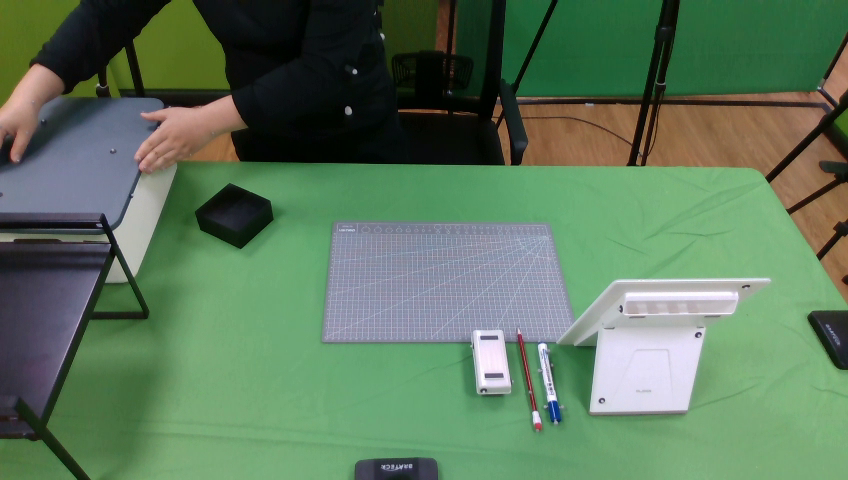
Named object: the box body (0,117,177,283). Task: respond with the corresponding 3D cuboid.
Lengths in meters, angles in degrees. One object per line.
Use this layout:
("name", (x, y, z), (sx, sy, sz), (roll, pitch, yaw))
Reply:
("box body", (-0.640, -0.095, 1.140), (0.254, 0.161, 0.361), (0, 46, -4))

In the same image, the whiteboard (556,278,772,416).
("whiteboard", (0.347, 0.174, 0.903), (0.217, 0.306, 0.143), (1, 65, -4))

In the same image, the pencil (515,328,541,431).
("pencil", (0.169, 0.224, 1.003), (0.012, 0.012, 0.192), (-1, 46, -6))

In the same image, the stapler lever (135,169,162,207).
("stapler lever", (-0.555, -0.112, 1.221), (0.027, 0.040, 0.117), (6, 41, -13))

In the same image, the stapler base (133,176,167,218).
("stapler base", (-0.559, -0.094, 1.235), (0.041, 0.024, 0.129), (7, 39, -13))

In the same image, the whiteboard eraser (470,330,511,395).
("whiteboard eraser", (0.110, 0.202, 0.998), (0.055, 0.042, 0.112), (1, 46, -5))

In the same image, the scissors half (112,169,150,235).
("scissors half", (-0.596, -0.078, 1.225), (0.040, 0.013, 0.174), (7, 53, 1))

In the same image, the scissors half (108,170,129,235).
("scissors half", (-0.617, -0.077, 1.223), (0.040, 0.013, 0.174), (-14, 54, -8))

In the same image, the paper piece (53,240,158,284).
("paper piece", (-0.593, 0.037, 1.135), (0.136, 0.009, 0.137), (3, 33, 7))

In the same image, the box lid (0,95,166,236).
("box lid", (-0.632, -0.145, 1.077), (0.263, 0.015, 0.369), (1, 47, -6))

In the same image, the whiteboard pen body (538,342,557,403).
("whiteboard pen body", (0.205, 0.228, 0.997), (0.017, 0.017, 0.140), (1, 47, -3))

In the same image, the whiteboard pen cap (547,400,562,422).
("whiteboard pen cap", (0.205, 0.269, 0.956), (0.018, 0.018, 0.033), (0, 47, -5))
